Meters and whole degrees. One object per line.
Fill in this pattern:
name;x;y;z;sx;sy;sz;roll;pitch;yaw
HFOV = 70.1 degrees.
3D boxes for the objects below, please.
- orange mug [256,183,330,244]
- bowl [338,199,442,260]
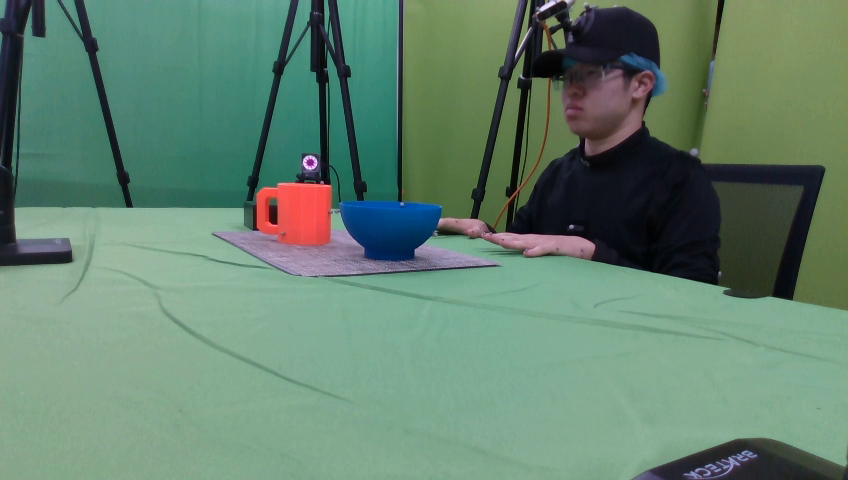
orange mug;-0.216;-0.047;0.999;0.126;0.100;0.083;7;8;8
bowl;-0.050;-0.015;0.878;0.151;0.077;0.151;2;8;0
